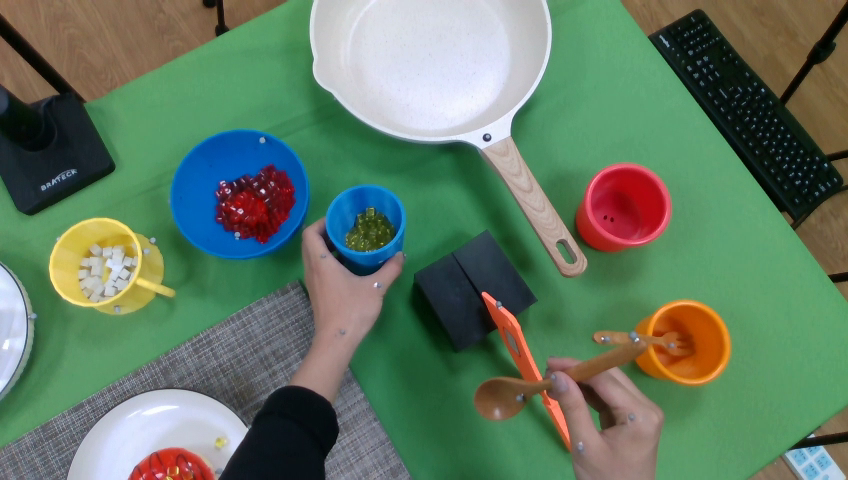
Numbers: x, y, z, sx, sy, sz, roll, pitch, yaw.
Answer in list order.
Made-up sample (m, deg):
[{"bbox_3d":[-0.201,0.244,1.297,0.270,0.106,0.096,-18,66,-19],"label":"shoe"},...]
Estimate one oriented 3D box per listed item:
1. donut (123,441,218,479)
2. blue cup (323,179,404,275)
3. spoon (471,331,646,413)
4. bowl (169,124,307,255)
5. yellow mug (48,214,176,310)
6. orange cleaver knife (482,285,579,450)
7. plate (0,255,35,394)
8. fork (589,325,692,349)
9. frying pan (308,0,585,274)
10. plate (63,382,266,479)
[{"bbox_3d":[-0.266,0.262,0.636,0.099,0.048,0.098,1,81,-4],"label":"donut"},{"bbox_3d":[-0.063,-0.006,0.682,0.092,0.101,0.092,0,65,0],"label":"blue cup"},{"bbox_3d":[0.104,0.112,0.502,0.021,0.194,0.041,-37,91,-41],"label":"spoon"},{"bbox_3d":[-0.205,-0.049,0.702,0.151,0.077,0.150,1,78,-2],"label":"bowl"},{"bbox_3d":[-0.343,0.032,0.686,0.131,0.064,0.099,22,77,2],"label":"yellow mug"},{"bbox_3d":[0.117,0.142,0.670,0.012,0.076,0.213,-31,109,-8],"label":"orange cleaver knife"},{"bbox_3d":[-0.538,0.103,0.677,0.208,0.039,0.206,0,78,-2],"label":"plate"},{"bbox_3d":[0.237,0.101,0.648,0.209,0.018,0.028,11,72,-44],"label":"fork"},{"bbox_3d":[0.052,-0.168,0.724,0.307,0.103,0.484,-26,72,-6],"label":"frying pan"},{"bbox_3d":[-0.272,0.257,0.648,0.209,0.038,0.208,1,78,-2],"label":"plate"}]
